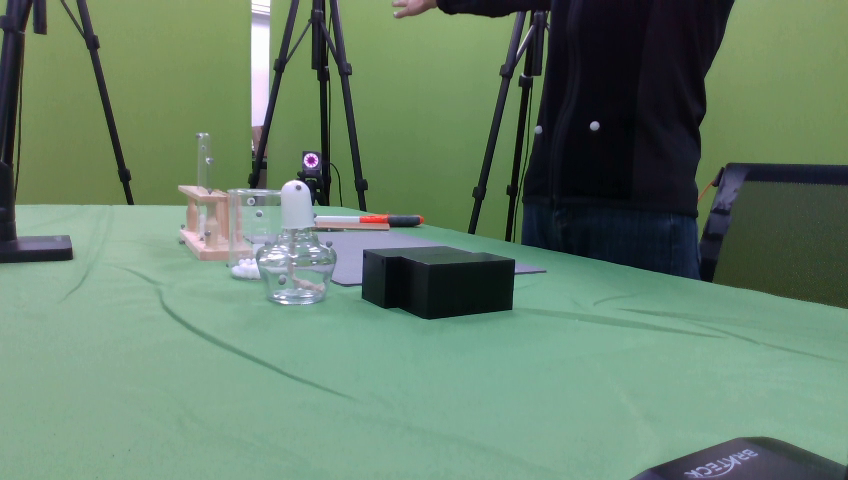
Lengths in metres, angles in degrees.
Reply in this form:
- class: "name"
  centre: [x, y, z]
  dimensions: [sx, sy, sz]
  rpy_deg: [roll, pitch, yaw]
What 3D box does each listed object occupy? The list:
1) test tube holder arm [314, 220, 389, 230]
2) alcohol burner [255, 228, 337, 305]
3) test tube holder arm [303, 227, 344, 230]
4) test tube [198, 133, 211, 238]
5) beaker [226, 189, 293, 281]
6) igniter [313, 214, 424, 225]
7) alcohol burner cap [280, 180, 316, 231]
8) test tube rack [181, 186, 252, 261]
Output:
- class: "test tube holder arm"
  centre: [-0.153, -0.028, 1.174]
  dimensions: [0.179, 0.015, 0.013]
  rpy_deg: [1, -25, -21]
- class: "alcohol burner"
  centre: [-0.124, 0.002, 0.585]
  dimensions: [0.078, 0.119, 0.078]
  rpy_deg: [0, 7, 0]
- class: "test tube holder arm"
  centre: [-0.197, -0.026, 1.163]
  dimensions: [0.088, 0.015, 0.010]
  rpy_deg: [0, -25, -20]
- class: "test tube"
  centre: [-0.316, -0.078, 0.871]
  dimensions: [0.017, 0.150, 0.017]
  rpy_deg: [2, 3, 0]
- class: "beaker"
  centre: [-0.184, -0.007, 0.694]
  dimensions: [0.084, 0.100, 0.073]
  rpy_deg: [-1, 8, -29]
- class: "igniter"
  centre: [-0.129, -0.044, 1.273]
  dimensions: [0.278, 0.025, 0.057]
  rpy_deg: [-1, -2, -26]
- class: "alcohol burner cap"
  centre: [-0.122, -0.034, 0.581]
  dimensions: [0.034, 0.048, 0.034]
  rpy_deg: [-3, 10, 1]
- class: "test tube rack"
  centre: [-0.312, -0.031, 0.893]
  dimensions: [0.067, 0.085, 0.241]
  rpy_deg: [-1, 8, -27]
